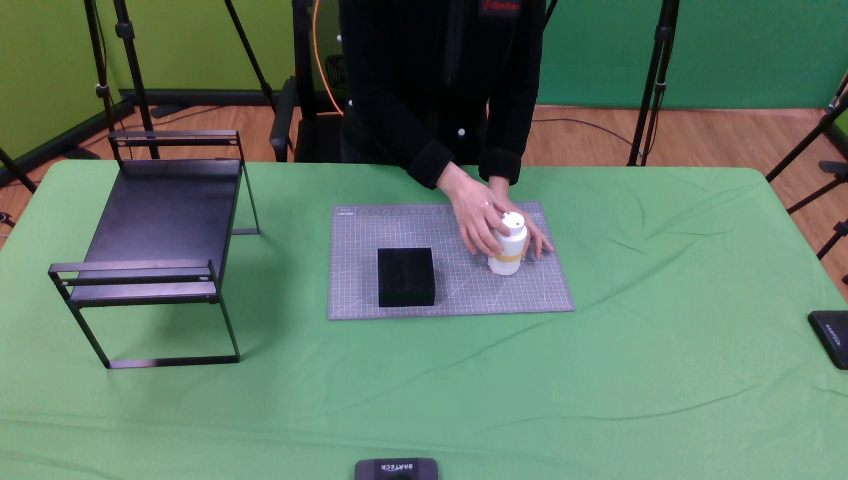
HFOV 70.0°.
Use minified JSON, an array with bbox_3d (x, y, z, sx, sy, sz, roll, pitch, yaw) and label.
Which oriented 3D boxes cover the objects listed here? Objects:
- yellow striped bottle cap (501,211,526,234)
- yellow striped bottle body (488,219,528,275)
[{"bbox_3d":[0.161,-0.032,1.093,0.044,0.019,0.044,1,45,-1],"label":"yellow striped bottle cap"},{"bbox_3d":[0.158,0.004,1.131,0.063,0.121,0.062,2,46,-2],"label":"yellow striped bottle body"}]
